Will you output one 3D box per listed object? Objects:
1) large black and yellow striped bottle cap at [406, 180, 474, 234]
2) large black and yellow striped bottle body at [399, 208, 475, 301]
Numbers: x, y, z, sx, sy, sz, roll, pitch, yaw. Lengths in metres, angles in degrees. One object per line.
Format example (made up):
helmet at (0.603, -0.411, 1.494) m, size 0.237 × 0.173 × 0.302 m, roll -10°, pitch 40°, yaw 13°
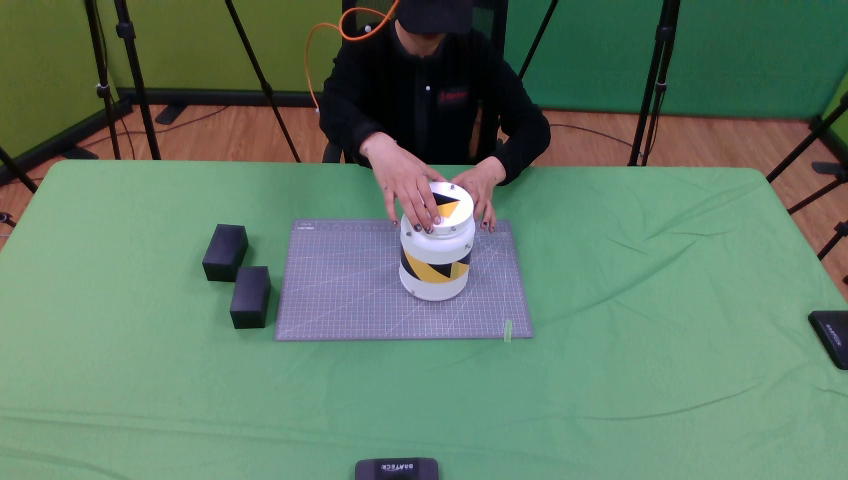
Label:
large black and yellow striped bottle cap at (0.027, -0.057, 1.014) m, size 0.115 × 0.019 × 0.114 m, roll 1°, pitch 48°, yaw -1°
large black and yellow striped bottle body at (0.022, 0.005, 1.077) m, size 0.131 × 0.185 × 0.130 m, roll 2°, pitch 46°, yaw -2°
